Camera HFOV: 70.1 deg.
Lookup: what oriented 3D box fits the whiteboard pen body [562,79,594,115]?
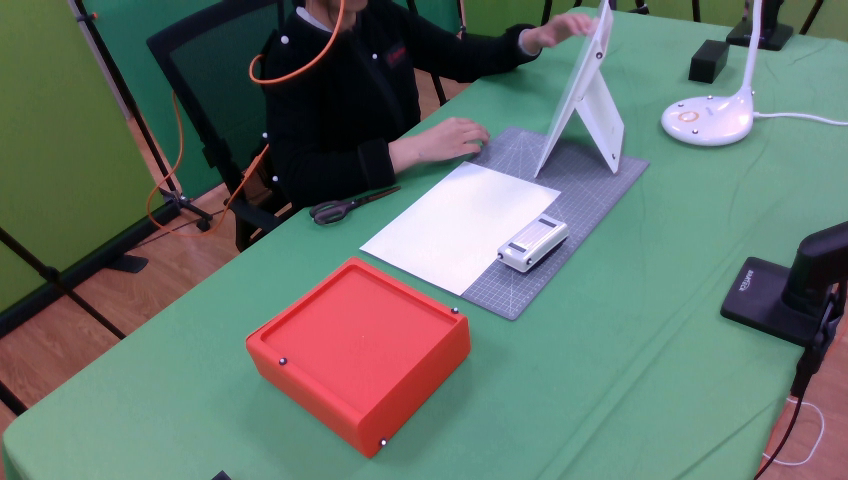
[{"bbox_3d":[0.328,-0.306,1.278,0.017,0.017,0.141,20,52,30],"label":"whiteboard pen body"}]

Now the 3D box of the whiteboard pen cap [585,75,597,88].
[{"bbox_3d":[0.362,-0.342,1.310,0.018,0.018,0.033,19,54,29],"label":"whiteboard pen cap"}]

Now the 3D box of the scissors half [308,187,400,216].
[{"bbox_3d":[-0.126,-0.075,1.105,0.176,0.013,0.039,-15,30,-10],"label":"scissors half"}]

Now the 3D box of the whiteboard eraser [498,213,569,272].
[{"bbox_3d":[0.168,0.006,0.924,0.113,0.042,0.055,-36,49,-28],"label":"whiteboard eraser"}]

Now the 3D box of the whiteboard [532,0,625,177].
[{"bbox_3d":[0.320,-0.258,1.050,0.144,0.306,0.217,21,45,5],"label":"whiteboard"}]

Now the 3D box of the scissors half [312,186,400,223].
[{"bbox_3d":[-0.119,-0.066,1.088,0.176,0.013,0.040,-26,38,-24],"label":"scissors half"}]

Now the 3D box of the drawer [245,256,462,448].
[{"bbox_3d":[-0.089,0.136,0.792,0.210,0.073,0.195,26,51,34],"label":"drawer"}]

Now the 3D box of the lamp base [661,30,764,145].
[{"bbox_3d":[0.535,-0.287,1.096,0.179,0.181,0.159,-10,40,-4],"label":"lamp base"}]

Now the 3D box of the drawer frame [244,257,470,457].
[{"bbox_3d":[-0.084,0.138,0.788,0.212,0.083,0.202,25,50,33],"label":"drawer frame"}]
